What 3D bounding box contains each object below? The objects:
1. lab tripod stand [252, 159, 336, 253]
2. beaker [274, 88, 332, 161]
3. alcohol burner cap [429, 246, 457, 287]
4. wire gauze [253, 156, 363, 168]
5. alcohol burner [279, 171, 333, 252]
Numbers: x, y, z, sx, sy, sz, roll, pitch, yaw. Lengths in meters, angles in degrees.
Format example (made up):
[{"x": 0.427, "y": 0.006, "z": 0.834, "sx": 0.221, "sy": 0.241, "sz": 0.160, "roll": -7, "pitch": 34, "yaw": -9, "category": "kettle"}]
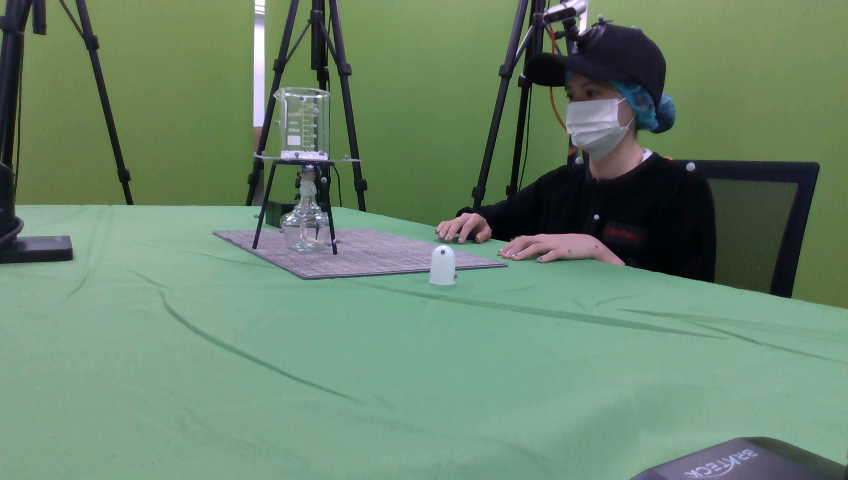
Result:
[{"x": -0.180, "y": -0.053, "z": 0.900, "sx": 0.148, "sy": 0.131, "sz": 0.148, "roll": 1, "pitch": 6, "yaw": 0, "category": "lab tripod stand"}, {"x": -0.177, "y": -0.165, "z": 0.879, "sx": 0.084, "sy": 0.100, "sz": 0.074, "roll": 2, "pitch": 5, "yaw": 1, "category": "beaker"}, {"x": 0.024, "y": 0.030, "z": 0.705, "sx": 0.034, "sy": 0.048, "sz": 0.034, "roll": 2, "pitch": 6, "yaw": 0, "category": "alcohol burner cap"}, {"x": -0.172, "y": -0.117, "z": 0.891, "sx": 0.122, "sy": 0.011, "sz": 0.124, "roll": 0, "pitch": 3, "yaw": -38, "category": "wire gauze"}, {"x": -0.174, "y": -0.042, "z": 0.896, "sx": 0.078, "sy": 0.119, "sz": 0.078, "roll": 3, "pitch": 5, "yaw": 0, "category": "alcohol burner"}]
